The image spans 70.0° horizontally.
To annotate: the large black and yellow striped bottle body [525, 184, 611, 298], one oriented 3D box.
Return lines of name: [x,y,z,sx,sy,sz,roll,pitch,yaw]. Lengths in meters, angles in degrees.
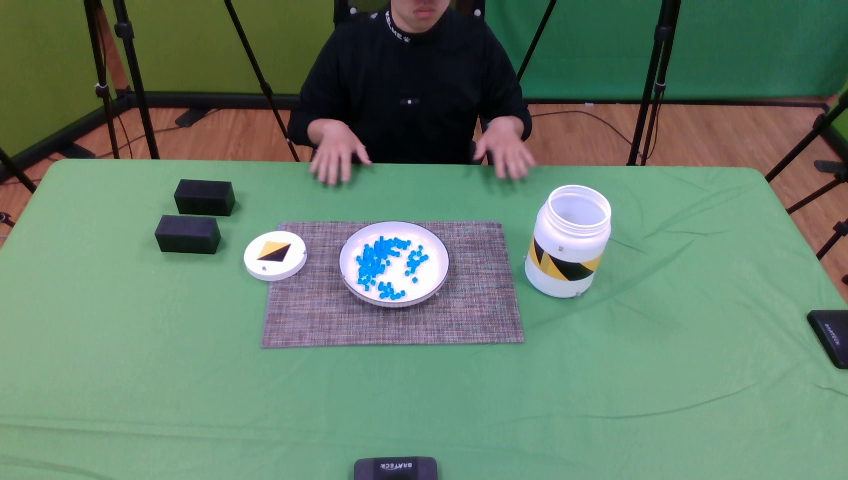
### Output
large black and yellow striped bottle body: [0.262,0.002,1.101,0.131,0.185,0.130,2,46,-2]

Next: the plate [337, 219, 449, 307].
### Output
plate: [-0.057,0.045,1.133,0.208,0.039,0.206,2,46,-2]

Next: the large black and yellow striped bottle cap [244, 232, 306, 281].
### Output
large black and yellow striped bottle cap: [-0.282,0.030,1.146,0.115,0.019,0.114,-1,45,1]
